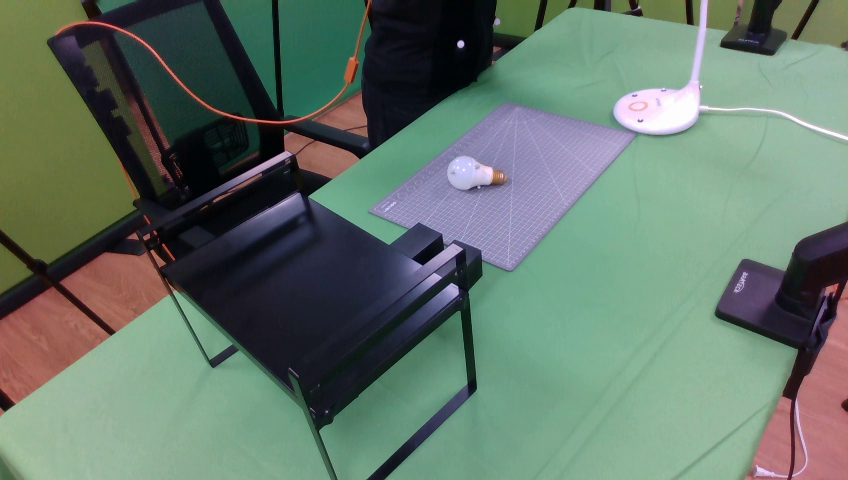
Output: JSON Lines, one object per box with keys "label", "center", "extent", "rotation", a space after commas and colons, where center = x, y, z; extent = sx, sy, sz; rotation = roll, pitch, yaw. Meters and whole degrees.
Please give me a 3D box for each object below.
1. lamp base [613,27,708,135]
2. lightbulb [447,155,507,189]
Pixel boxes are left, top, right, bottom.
{"label": "lamp base", "center": [0.464, -0.315, 1.152], "extent": [0.179, 0.181, 0.159], "rotation": [-5, 41, -1]}
{"label": "lightbulb", "center": [0.095, -0.118, 1.074], "extent": [0.108, 0.059, 0.059], "rotation": [7, 40, -7]}
